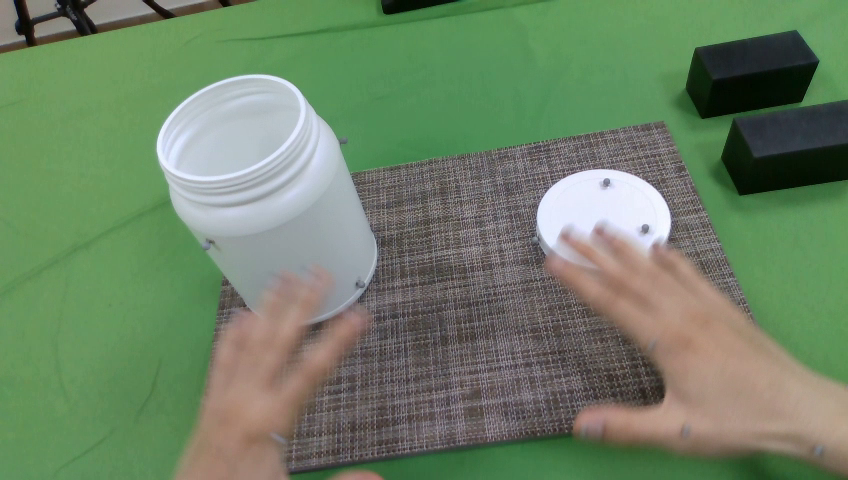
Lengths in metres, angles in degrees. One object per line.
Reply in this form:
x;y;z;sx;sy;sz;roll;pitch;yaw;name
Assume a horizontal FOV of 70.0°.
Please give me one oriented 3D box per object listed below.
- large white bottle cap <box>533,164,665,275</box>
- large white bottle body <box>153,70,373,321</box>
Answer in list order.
0.155;-0.021;0.541;0.115;0.018;0.113;-5;54;7;large white bottle cap
-0.124;-0.031;0.495;0.130;0.186;0.129;-5;53;7;large white bottle body
